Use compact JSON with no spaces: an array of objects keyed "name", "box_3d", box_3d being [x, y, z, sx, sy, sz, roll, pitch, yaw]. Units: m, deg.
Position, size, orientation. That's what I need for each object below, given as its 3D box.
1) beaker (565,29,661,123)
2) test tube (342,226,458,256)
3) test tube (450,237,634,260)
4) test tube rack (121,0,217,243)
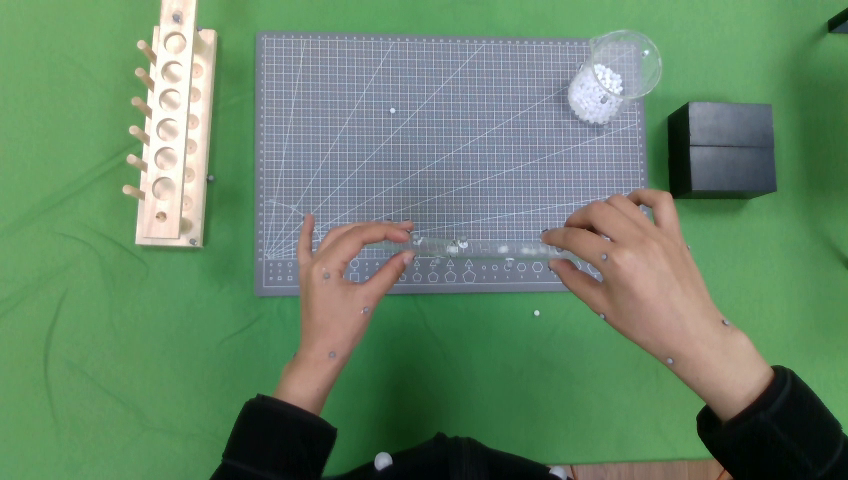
[{"name":"beaker","box_3d":[0.200,-0.177,0.667,0.084,0.100,0.074,37,82,1]},{"name":"test tube","box_3d":[-0.027,0.000,0.543,0.017,0.149,0.017,-6,99,-42]},{"name":"test tube","box_3d":[0.096,0.007,0.490,0.150,0.017,0.017,1,84,-3]},{"name":"test tube rack","box_3d":[-0.267,-0.122,0.627,0.067,0.085,0.241,3,84,-5]}]
